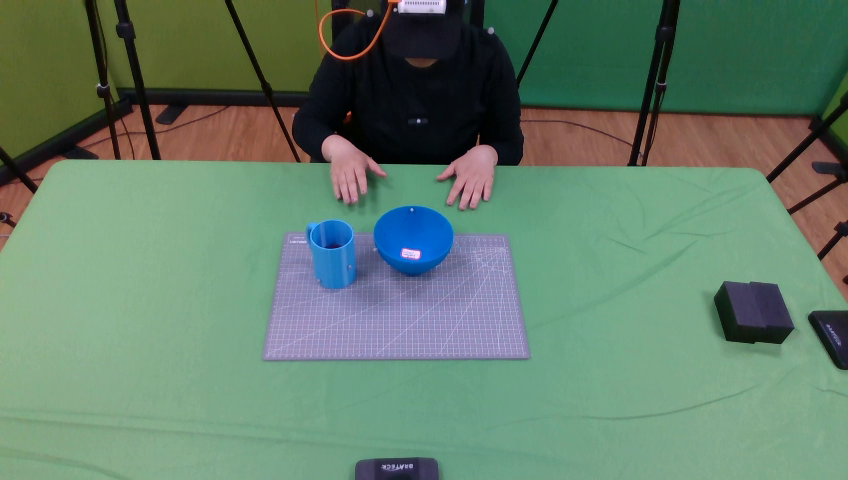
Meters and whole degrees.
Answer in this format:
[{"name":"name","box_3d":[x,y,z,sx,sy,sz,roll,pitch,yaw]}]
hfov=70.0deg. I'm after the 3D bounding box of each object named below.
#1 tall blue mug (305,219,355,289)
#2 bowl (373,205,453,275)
[{"name":"tall blue mug","box_3d":[-0.180,0.022,1.099,0.107,0.108,0.077,15,48,10]},{"name":"bowl","box_3d":[-0.022,0.013,1.143,0.151,0.077,0.150,2,46,-2]}]
